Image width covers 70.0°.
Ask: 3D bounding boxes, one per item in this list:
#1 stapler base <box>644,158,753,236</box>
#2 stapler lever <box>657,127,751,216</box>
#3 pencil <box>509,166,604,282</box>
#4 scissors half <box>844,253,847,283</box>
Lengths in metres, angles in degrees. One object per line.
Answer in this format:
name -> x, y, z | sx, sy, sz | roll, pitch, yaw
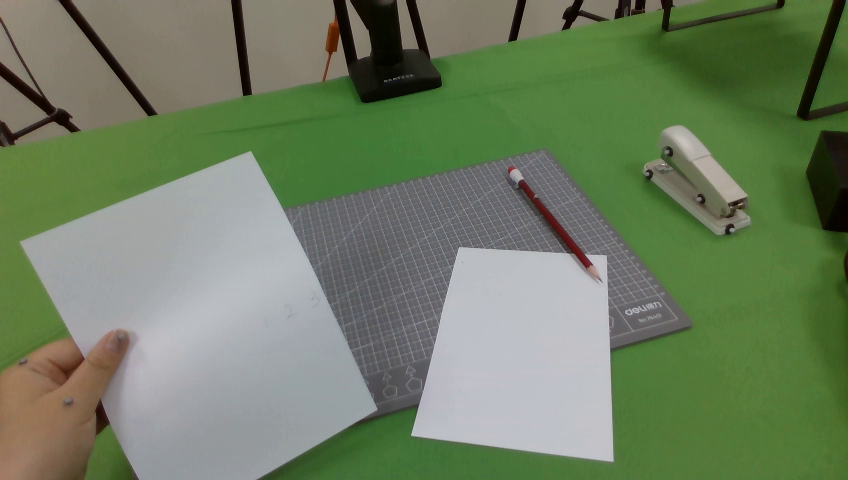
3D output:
stapler base -> 0.279, -0.054, 0.624 | 0.041, 0.025, 0.129 | -19, 44, -10
stapler lever -> 0.278, -0.072, 0.606 | 0.027, 0.040, 0.116 | -19, 44, -10
pencil -> 0.131, -0.021, 0.612 | 0.012, 0.012, 0.191 | -17, 43, -11
scissors half -> 0.396, -0.023, 0.525 | 0.040, 0.013, 0.174 | 14, 71, 24
